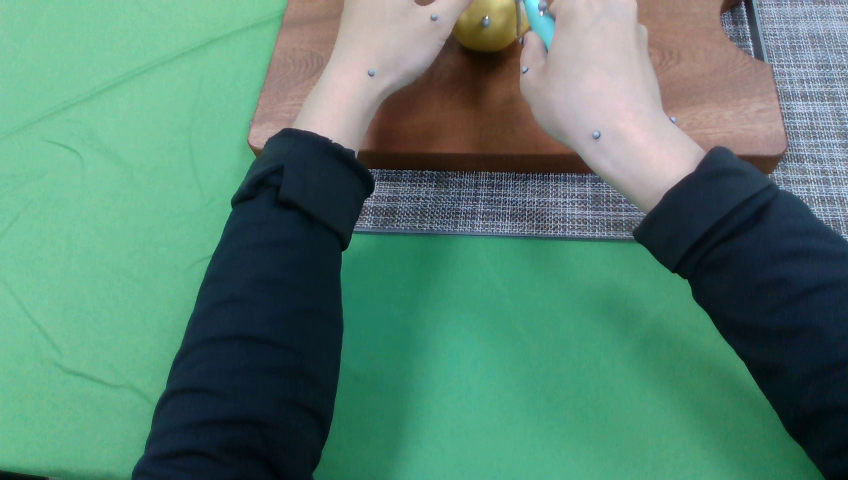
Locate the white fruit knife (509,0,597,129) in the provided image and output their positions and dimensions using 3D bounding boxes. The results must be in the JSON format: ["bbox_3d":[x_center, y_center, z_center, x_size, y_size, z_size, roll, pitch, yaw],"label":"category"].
[{"bbox_3d":[0.071,-0.161,0.430,0.016,0.028,0.205,-21,60,-2],"label":"white fruit knife"}]

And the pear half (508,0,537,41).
[{"bbox_3d":[0.071,-0.200,0.469,0.031,0.089,0.069,-20,58,-8],"label":"pear half"}]

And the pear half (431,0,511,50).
[{"bbox_3d":[0.032,-0.195,0.458,0.056,0.111,0.075,-23,60,-4],"label":"pear half"}]
